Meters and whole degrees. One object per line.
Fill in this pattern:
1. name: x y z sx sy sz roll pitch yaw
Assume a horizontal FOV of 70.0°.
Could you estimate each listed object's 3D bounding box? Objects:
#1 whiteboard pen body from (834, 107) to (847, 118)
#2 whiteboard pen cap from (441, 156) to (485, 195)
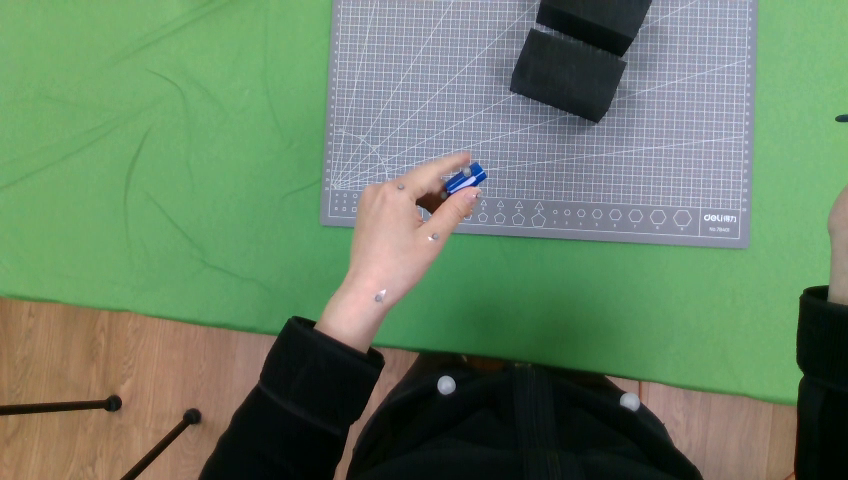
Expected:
1. whiteboard pen body: 0.308 -0.074 0.335 0.140 0.017 0.017 1 87 19
2. whiteboard pen cap: 0.031 -0.051 0.472 0.033 0.018 0.018 -38 85 2
